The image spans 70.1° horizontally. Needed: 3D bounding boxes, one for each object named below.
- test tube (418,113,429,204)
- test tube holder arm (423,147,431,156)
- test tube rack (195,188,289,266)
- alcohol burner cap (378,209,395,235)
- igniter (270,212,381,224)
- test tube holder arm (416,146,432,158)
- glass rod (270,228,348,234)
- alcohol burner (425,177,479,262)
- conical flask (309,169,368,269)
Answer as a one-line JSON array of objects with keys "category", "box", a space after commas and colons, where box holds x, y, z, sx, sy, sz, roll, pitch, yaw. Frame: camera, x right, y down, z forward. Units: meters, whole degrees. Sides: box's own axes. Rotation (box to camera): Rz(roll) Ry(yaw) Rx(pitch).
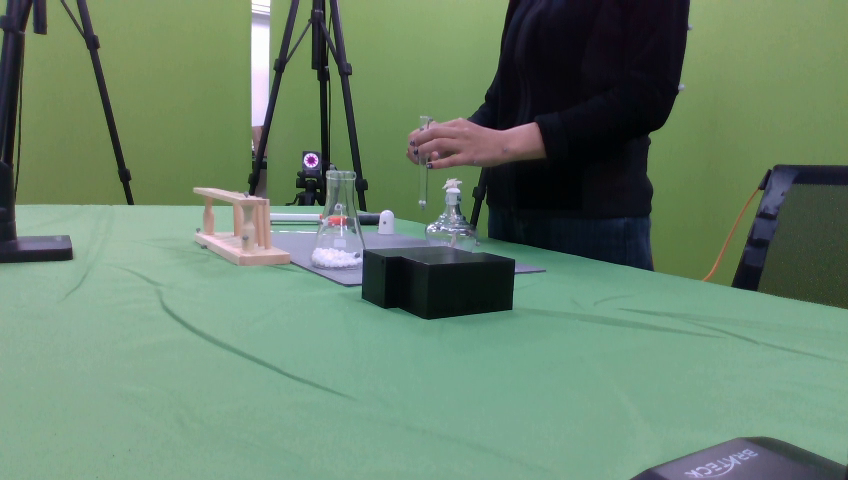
[{"category": "test tube", "box": [-0.001, -0.134, 1.002, 0.017, 0.150, 0.017, 1, 12, 0]}, {"category": "test tube holder arm", "box": [0.005, -0.149, 1.023, 0.010, 0.015, 0.087, 7, 6, -4]}, {"category": "test tube rack", "box": [-0.266, -0.025, 0.864, 0.067, 0.085, 0.241, -2, 9, -33]}, {"category": "alcohol burner cap", "box": [-0.070, -0.035, 1.144, 0.034, 0.048, 0.034, 2, 8, 0]}, {"category": "igniter", "box": [-0.213, -0.048, 1.279, 0.278, 0.025, 0.057, -1, -2, -24]}, {"category": "test tube holder arm", "box": [0.001, -0.154, 1.068, 0.013, 0.015, 0.178, 8, 6, 4]}, {"category": "glass rod", "box": [-0.234, -0.017, 1.105, 0.201, 0.008, 0.008, 2, 6, -26]}, {"category": "alcohol burner", "box": [0.040, -0.029, 0.853, 0.078, 0.119, 0.078, 2, 10, 0]}, {"category": "conical flask", "box": [-0.107, -0.028, 0.762, 0.075, 0.122, 0.075, 2, 7, 0]}]
